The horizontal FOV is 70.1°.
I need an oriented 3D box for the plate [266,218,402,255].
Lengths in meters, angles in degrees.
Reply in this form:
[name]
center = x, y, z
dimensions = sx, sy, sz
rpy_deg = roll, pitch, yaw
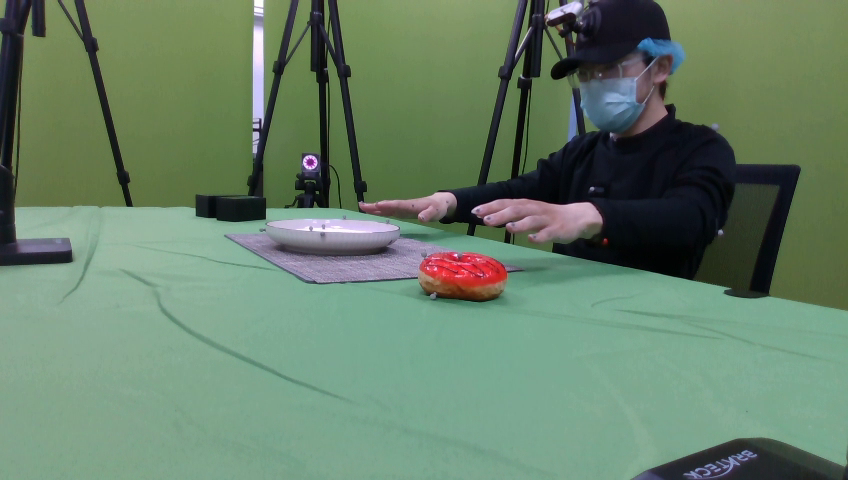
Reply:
[plate]
center = -0.138, -0.006, 0.941
dimensions = 0.208, 0.039, 0.207
rpy_deg = 2, 7, 0

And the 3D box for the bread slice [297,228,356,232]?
[bread slice]
center = -0.142, -0.004, 0.939
dimensions = 0.131, 0.019, 0.105
rpy_deg = 8, 9, 33

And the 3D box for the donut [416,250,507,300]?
[donut]
center = 0.041, 0.038, 0.650
dimensions = 0.099, 0.048, 0.099
rpy_deg = 4, 9, 0
